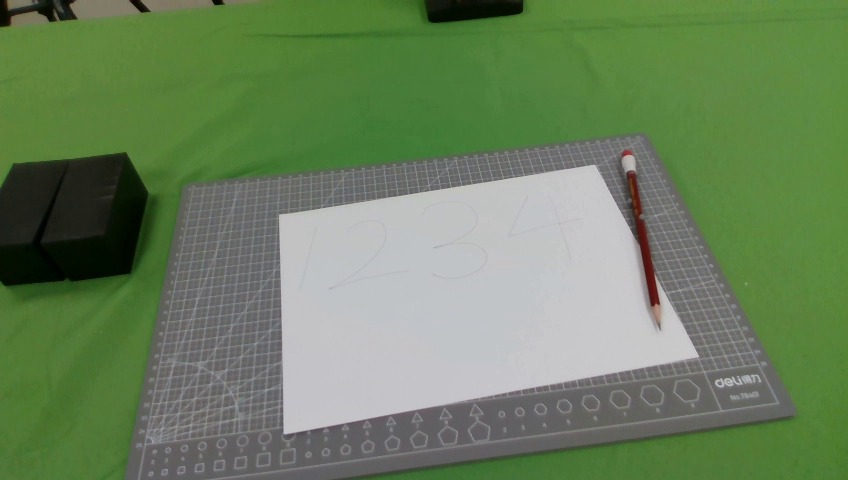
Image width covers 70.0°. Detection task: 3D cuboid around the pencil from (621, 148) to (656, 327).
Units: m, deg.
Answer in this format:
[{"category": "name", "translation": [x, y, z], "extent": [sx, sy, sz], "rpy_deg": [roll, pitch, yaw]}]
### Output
[{"category": "pencil", "translation": [0.181, -0.010, 0.512], "extent": [0.012, 0.012, 0.192], "rpy_deg": [3, 51, 5]}]
